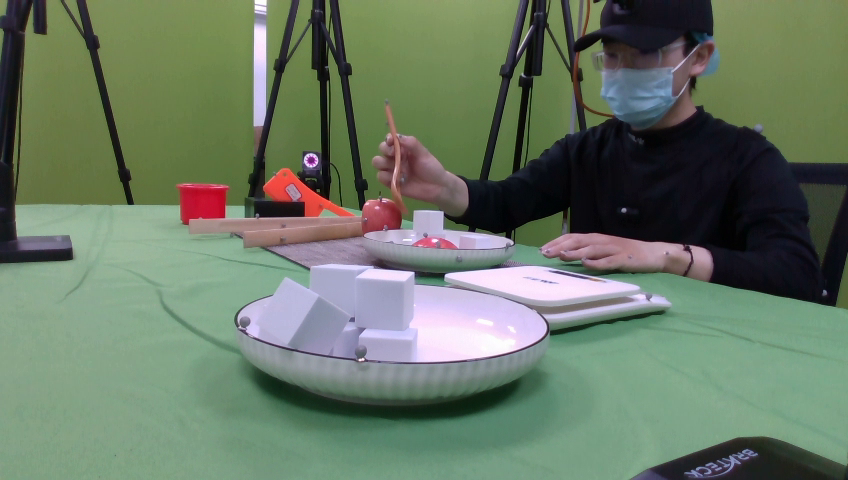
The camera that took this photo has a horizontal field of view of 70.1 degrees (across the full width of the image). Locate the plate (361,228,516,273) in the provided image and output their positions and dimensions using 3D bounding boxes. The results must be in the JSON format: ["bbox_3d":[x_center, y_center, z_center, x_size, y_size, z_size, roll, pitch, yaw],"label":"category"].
[{"bbox_3d":[0.019,0.013,0.818,0.209,0.038,0.209,2,7,0],"label":"plate"}]

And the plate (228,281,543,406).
[{"bbox_3d":[-0.025,0.067,0.413,0.208,0.039,0.207,3,7,0],"label":"plate"}]

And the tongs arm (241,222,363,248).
[{"bbox_3d":[-0.159,-0.016,1.034,0.028,0.028,0.389,2,6,33],"label":"tongs arm"}]

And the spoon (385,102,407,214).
[{"bbox_3d":[-0.042,-0.124,0.892,0.021,0.193,0.042,-10,-26,10],"label":"spoon"}]

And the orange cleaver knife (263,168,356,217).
[{"bbox_3d":[-0.240,-0.077,1.294,0.212,0.077,0.012,32,-7,-26],"label":"orange cleaver knife"}]

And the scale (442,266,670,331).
[{"bbox_3d":[0.131,0.052,0.603,0.202,0.031,0.148,-3,9,-37],"label":"scale"}]

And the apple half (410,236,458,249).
[{"bbox_3d":[0.014,0.011,0.797,0.081,0.033,0.081,1,10,0],"label":"apple half"}]

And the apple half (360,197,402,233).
[{"bbox_3d":[-0.066,-0.033,1.014,0.053,0.074,0.081,9,6,20],"label":"apple half"}]

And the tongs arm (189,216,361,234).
[{"bbox_3d":[-0.221,-0.028,1.088,0.387,0.026,0.050,-3,9,-43],"label":"tongs arm"}]
